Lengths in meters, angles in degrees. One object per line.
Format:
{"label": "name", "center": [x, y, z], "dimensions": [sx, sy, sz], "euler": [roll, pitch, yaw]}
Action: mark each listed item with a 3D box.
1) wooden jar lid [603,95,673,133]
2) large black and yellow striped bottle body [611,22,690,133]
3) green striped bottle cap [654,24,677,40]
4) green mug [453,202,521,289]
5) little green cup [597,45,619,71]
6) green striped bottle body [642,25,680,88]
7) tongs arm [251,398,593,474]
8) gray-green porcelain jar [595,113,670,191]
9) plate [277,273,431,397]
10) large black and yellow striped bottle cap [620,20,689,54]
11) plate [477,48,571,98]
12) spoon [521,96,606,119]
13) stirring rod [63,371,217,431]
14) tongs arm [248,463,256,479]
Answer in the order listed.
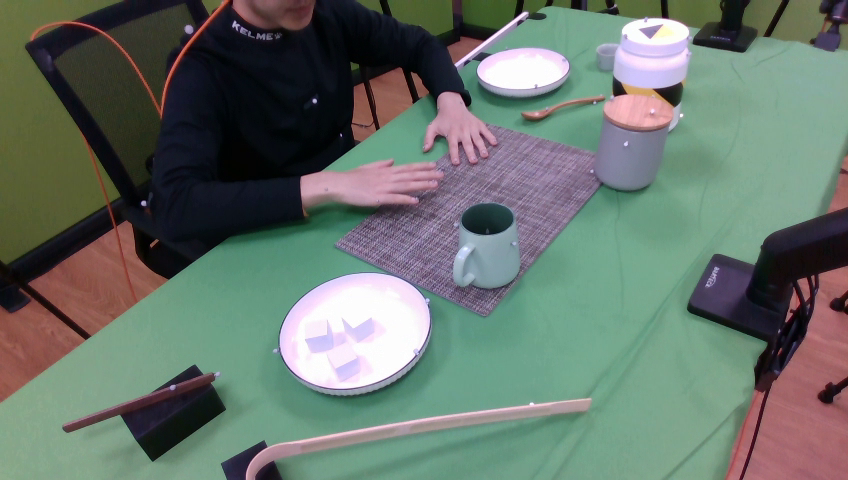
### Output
{"label": "wooden jar lid", "center": [0.343, -0.200, 0.974], "dimensions": [0.108, 0.021, 0.108], "euler": [-2, 39, 2]}
{"label": "large black and yellow striped bottle body", "center": [0.420, -0.300, 1.132], "dimensions": [0.131, 0.185, 0.130], "euler": [-4, 41, 4]}
{"label": "green striped bottle cap", "center": [0.495, -0.426, 1.237], "dimensions": [0.044, 0.020, 0.044], "euler": [-5, 42, 5]}
{"label": "green mug", "center": [0.084, 0.019, 0.867], "dimensions": [0.092, 0.105, 0.125], "euler": [23, 49, 30]}
{"label": "little green cup", "center": [0.423, -0.413, 1.376], "dimensions": [0.061, 0.039, 0.061], "euler": [-4, 41, 4]}
{"label": "green striped bottle body", "center": [0.499, -0.387, 1.271], "dimensions": [0.063, 0.120, 0.063], "euler": [-4, 41, 4]}
{"label": "tongs arm", "center": [0.008, 0.212, 0.675], "dimensions": [0.389, 0.028, 0.028], "euler": [-5, 46, -11]}
{"label": "gray-green porcelain jar", "center": [0.346, -0.155, 1.017], "dimensions": [0.106, 0.127, 0.105], "euler": [-2, 44, 2]}
{"label": "plate", "center": [-0.092, 0.129, 0.821], "dimensions": [0.207, 0.039, 0.206], "euler": [-4, 40, 4]}
{"label": "large black and yellow striped bottle cap", "center": [0.411, -0.363, 1.080], "dimensions": [0.115, 0.019, 0.114], "euler": [-3, 42, 4]}
{"label": "plate", "center": [0.223, -0.371, 1.357], "dimensions": [0.209, 0.038, 0.208], "euler": [-4, 41, 4]}
{"label": "spoon", "center": [0.291, -0.277, 1.249], "dimensions": [0.194, 0.022, 0.041], "euler": [-18, 23, -11]}
{"label": "stirring rod", "center": [-0.337, 0.192, 0.723], "dimensions": [0.177, 0.014, 0.005], "euler": [-18, 43, -12]}
{"label": "tongs arm", "center": [0.012, 0.262, 0.615], "dimensions": [0.385, 0.026, 0.050], "euler": [2, 42, -2]}
